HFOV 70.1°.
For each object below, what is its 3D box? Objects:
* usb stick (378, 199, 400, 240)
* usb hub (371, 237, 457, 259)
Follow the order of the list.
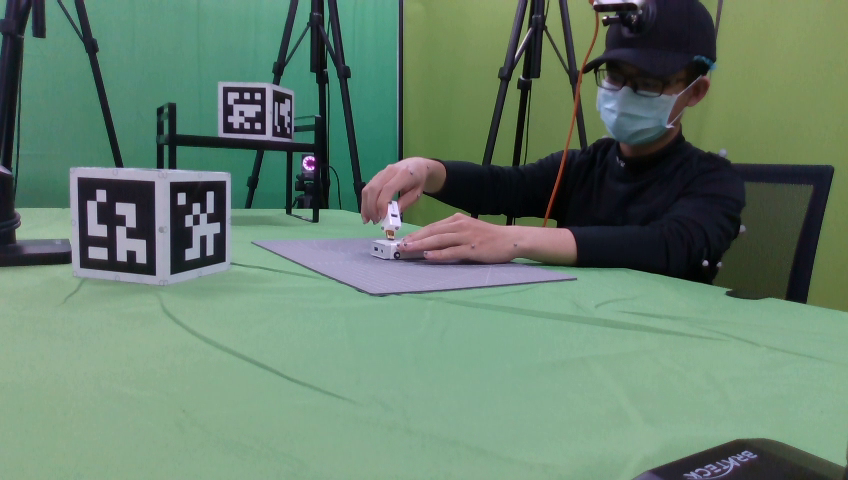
[{"bbox_3d":[-0.052,-0.029,0.905,0.021,0.059,0.027,11,-31,-36],"label":"usb stick"},{"bbox_3d":[-0.014,0.012,0.910,0.126,0.025,0.049,-4,8,-34],"label":"usb hub"}]
